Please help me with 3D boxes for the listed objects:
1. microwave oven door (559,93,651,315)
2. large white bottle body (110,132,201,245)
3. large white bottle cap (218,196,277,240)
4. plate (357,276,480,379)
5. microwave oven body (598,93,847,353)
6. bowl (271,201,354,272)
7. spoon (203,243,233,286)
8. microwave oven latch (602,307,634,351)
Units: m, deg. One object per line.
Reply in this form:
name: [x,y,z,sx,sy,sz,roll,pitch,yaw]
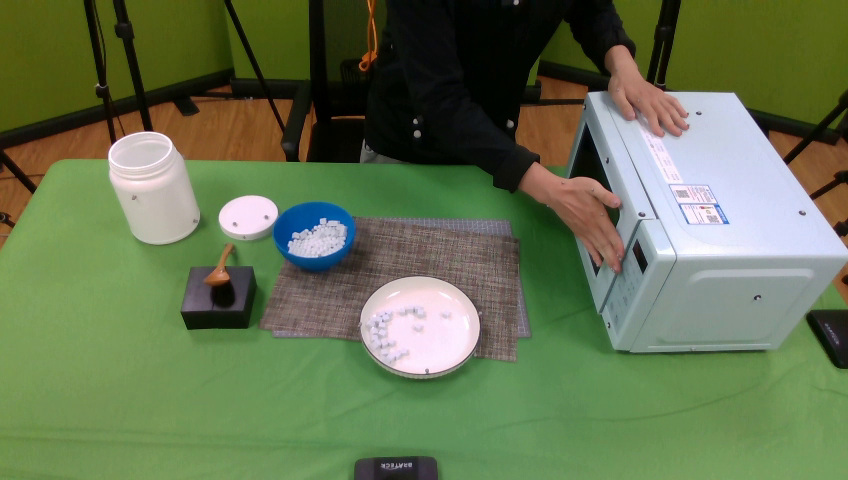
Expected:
microwave oven door: [0.324,-0.075,1.123,0.039,0.245,0.353,0,46,-4]
large white bottle body: [-0.506,-0.097,1.141,0.131,0.185,0.130,2,46,-2]
large white bottle cap: [-0.354,-0.045,1.220,0.115,0.018,0.114,1,45,-1]
plate: [-0.009,0.151,1.038,0.209,0.038,0.208,2,47,-2]
microwave oven body: [0.476,-0.041,1.110,0.326,0.261,0.438,-1,45,-4]
bowl: [-0.205,0.006,1.135,0.151,0.077,0.150,3,46,-3]
spoon: [-0.360,0.039,1.087,0.041,0.022,0.192,-6,24,-6]
microwave oven latch: [0.332,0.153,1.044,0.030,0.029,0.078,-1,45,-4]
